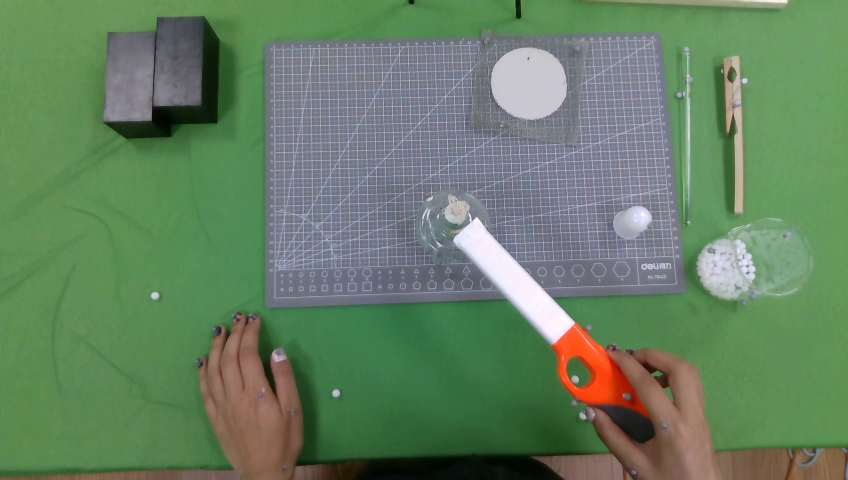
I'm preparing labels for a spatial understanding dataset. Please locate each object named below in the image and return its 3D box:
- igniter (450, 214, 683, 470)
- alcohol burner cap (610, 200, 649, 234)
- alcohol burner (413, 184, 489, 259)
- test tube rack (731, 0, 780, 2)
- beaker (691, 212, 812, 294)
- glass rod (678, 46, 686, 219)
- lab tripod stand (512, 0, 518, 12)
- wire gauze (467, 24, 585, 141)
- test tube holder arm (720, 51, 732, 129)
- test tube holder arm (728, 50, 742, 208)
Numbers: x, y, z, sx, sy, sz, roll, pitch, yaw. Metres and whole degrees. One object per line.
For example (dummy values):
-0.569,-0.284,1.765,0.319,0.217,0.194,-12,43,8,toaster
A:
0.127,0.087,0.533,0.057,0.025,0.276,-42,85,-9,igniter
0.221,-0.027,0.643,0.034,0.048,0.033,0,81,-1,alcohol burner cap
0.027,-0.022,0.603,0.078,0.119,0.077,0,80,1,alcohol burner
0.294,-0.320,0.669,0.242,0.085,0.066,2,81,-1,test tube rack
0.322,0.016,0.613,0.084,0.100,0.074,30,81,5,beaker
0.289,-0.121,0.678,0.008,0.008,0.199,3,84,-1,glass rod
0.048,-0.315,0.639,0.148,0.132,0.148,0,83,-1,lab tripod stand
0.115,-0.179,0.681,0.125,0.011,0.121,9,83,-1,wire gauze
0.341,-0.168,0.682,0.010,0.015,0.087,-3,82,32,test tube holder arm
0.345,-0.124,0.674,0.013,0.015,0.178,-4,81,32,test tube holder arm
